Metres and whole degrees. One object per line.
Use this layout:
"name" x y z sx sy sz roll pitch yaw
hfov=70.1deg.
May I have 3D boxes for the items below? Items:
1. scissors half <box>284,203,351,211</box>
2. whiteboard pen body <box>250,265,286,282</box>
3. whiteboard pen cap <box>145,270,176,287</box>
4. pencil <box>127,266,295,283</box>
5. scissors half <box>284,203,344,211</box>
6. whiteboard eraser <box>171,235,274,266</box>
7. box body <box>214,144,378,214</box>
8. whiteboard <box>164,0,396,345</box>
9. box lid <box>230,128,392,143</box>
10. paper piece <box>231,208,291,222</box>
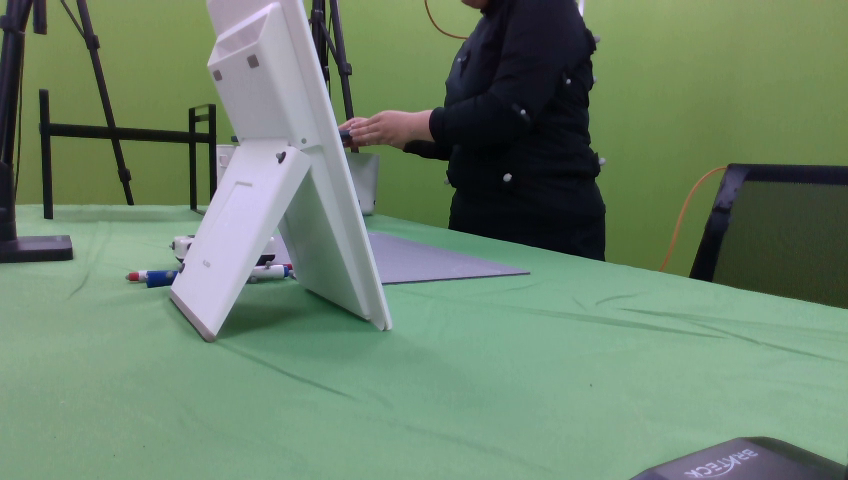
"scissors half" -0.269 -0.081 1.534 0.176 0.013 0.040 -7 10 -23
"whiteboard pen body" -0.220 0.039 0.656 0.141 0.017 0.017 -2 9 -30
"whiteboard pen cap" -0.271 0.039 0.627 0.033 0.018 0.018 -3 9 -33
"pencil" -0.231 0.037 0.690 0.195 0.012 0.012 -2 9 -34
"scissors half" -0.281 -0.083 1.552 0.176 0.013 0.040 -10 6 -44
"whiteboard eraser" -0.248 0.014 0.747 0.113 0.042 0.055 -1 9 -32
"box body" -0.328 -0.154 1.543 0.366 0.160 0.253 -2 9 -32
"whiteboard" -0.173 -0.053 0.511 0.144 0.305 0.216 -23 19 -26
"box lid" -0.282 -0.254 1.479 0.373 0.015 0.262 -5 9 -16
"paper piece" -0.395 -0.062 1.461 0.139 0.008 0.135 13 -3 -22
